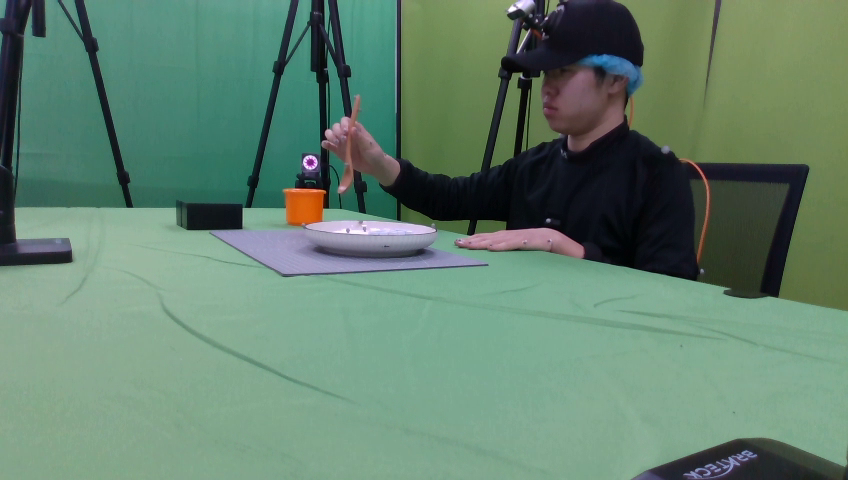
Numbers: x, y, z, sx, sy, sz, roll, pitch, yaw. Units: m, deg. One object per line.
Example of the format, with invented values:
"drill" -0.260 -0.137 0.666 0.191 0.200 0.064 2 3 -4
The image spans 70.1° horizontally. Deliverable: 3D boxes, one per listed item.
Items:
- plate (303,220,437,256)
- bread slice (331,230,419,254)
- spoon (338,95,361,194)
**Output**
"plate" -0.084 -0.003 0.951 0.209 0.038 0.209 3 7 0
"bread slice" -0.088 0.001 0.947 0.105 0.019 0.131 -4 12 -45
"spoon" -0.138 -0.181 1.139 0.022 0.193 0.041 7 -3 -30
